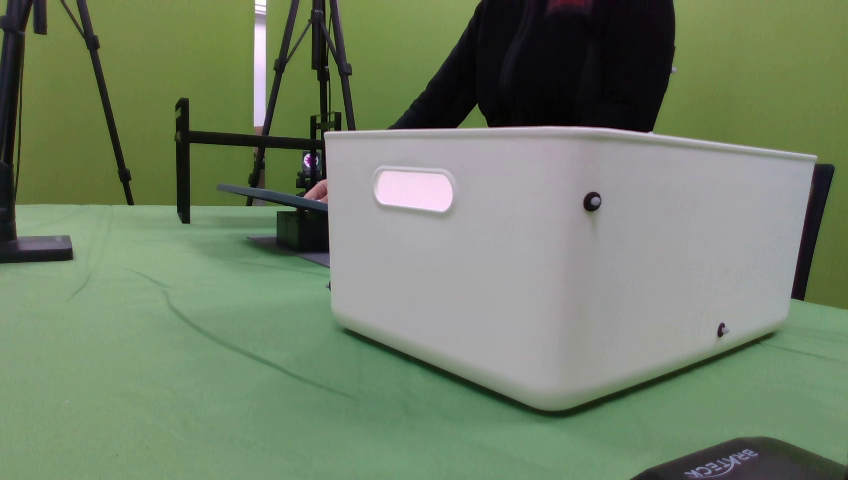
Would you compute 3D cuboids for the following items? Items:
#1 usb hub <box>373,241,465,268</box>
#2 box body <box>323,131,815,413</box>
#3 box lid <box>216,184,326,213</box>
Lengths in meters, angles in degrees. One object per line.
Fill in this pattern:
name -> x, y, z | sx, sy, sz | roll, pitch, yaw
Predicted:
usb hub -> -0.005, 0.018, 0.826 | 0.126, 0.025, 0.049 | -3, 9, -39
box body -> 0.125, 0.000, 0.510 | 0.366, 0.160, 0.253 | -4, 9, -40
box lid -> -0.124, -0.043, 0.987 | 0.374, 0.015, 0.262 | 11, 0, -35
